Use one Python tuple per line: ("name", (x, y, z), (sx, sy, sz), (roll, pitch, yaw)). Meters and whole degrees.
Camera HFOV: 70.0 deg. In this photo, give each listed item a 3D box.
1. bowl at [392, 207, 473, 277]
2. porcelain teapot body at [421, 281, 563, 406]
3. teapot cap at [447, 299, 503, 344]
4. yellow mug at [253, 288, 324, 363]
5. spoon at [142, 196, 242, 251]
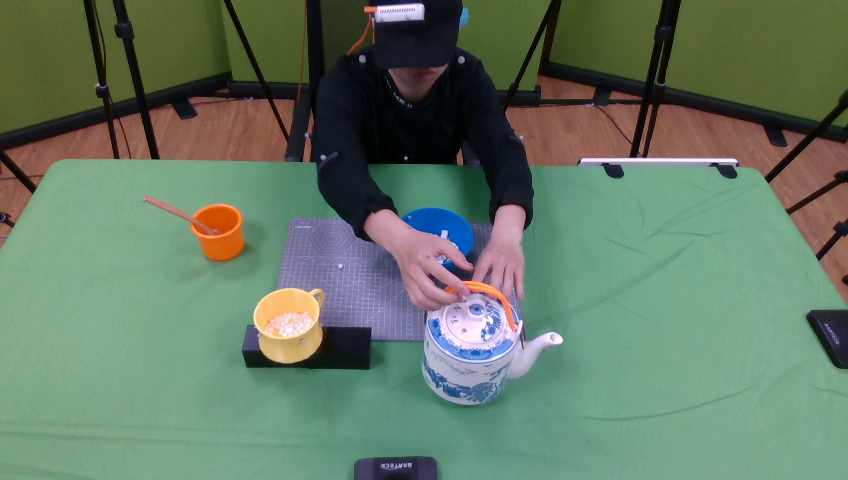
("bowl", (0.014, 0.016, 1.140), (0.151, 0.077, 0.150), (2, 47, -2))
("porcelain teapot body", (0.100, 0.149, 0.922), (0.205, 0.226, 0.144), (12, 46, 6))
("teapot cap", (0.076, 0.115, 0.898), (0.085, 0.044, 0.084), (5, 46, -5))
("yellow mug", (-0.205, 0.124, 0.962), (0.099, 0.064, 0.130), (27, 48, 21))
("spoon", (-0.421, -0.032, 1.108), (0.021, 0.195, 0.041), (-32, 40, 28))
